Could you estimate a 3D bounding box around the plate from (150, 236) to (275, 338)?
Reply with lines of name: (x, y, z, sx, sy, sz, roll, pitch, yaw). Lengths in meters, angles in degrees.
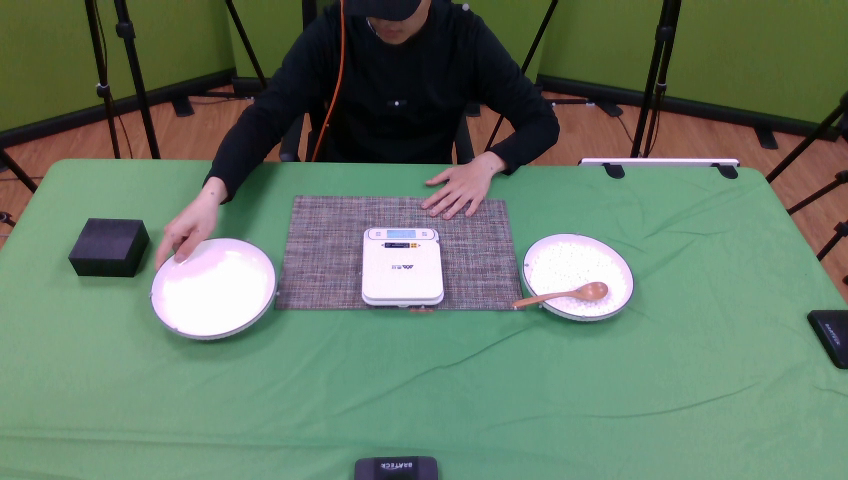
plate: (-0.365, 0.084, 1.061, 0.208, 0.039, 0.206, 3, 52, -3)

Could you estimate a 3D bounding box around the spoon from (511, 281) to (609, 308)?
spoon: (0.245, 0.098, 1.088, 0.194, 0.022, 0.041, -5, 47, -19)

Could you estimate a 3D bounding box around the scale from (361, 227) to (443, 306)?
scale: (-0.042, 0.040, 1.143, 0.149, 0.032, 0.199, 0, 46, -4)

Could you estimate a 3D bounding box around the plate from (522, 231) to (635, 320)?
plate: (0.287, 0.069, 1.141, 0.209, 0.038, 0.208, 2, 46, -2)
